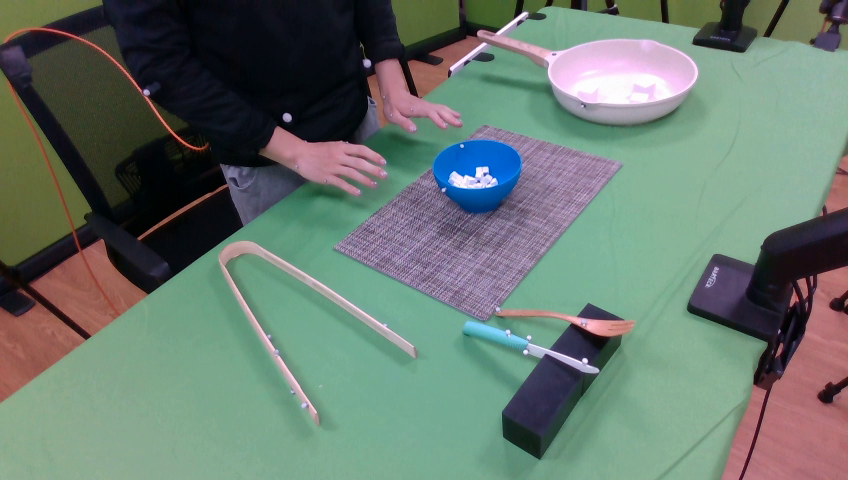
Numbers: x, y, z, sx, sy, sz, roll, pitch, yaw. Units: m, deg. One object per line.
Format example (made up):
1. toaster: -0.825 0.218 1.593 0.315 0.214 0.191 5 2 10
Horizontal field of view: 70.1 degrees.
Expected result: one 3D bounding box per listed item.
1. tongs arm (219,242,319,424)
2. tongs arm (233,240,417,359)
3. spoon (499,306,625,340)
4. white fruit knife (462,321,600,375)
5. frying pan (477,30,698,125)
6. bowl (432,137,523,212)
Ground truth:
1. tongs arm: -0.220 0.114 0.856 0.051 0.026 0.381 -28 44 -24
2. tongs arm: -0.157 0.078 0.896 0.384 0.028 0.028 26 53 33
3. spoon: 0.169 0.102 0.773 0.042 0.021 0.192 -10 13 -38
4. white fruit knife: 0.126 0.132 0.752 0.205 0.027 0.016 12 47 42
5. frying pan: 0.321 -0.371 1.290 0.484 0.103 0.308 29 51 24
6. bowl: 0.091 -0.100 1.022 0.151 0.077 0.150 -4 41 4
